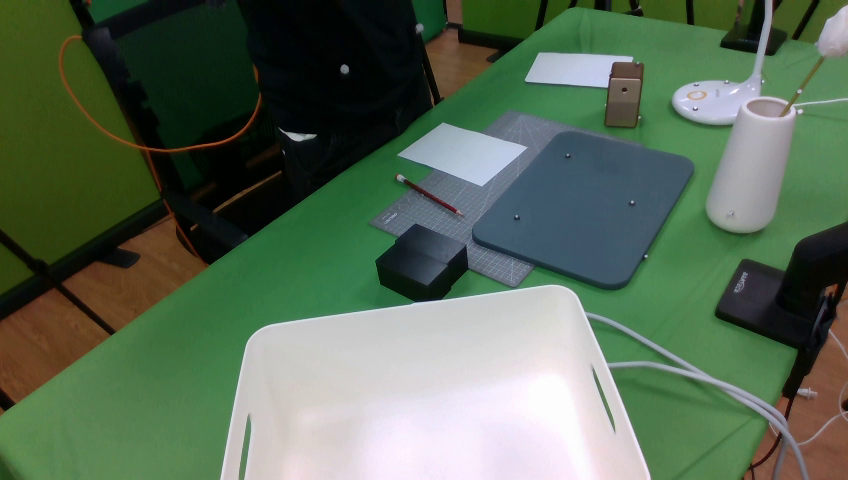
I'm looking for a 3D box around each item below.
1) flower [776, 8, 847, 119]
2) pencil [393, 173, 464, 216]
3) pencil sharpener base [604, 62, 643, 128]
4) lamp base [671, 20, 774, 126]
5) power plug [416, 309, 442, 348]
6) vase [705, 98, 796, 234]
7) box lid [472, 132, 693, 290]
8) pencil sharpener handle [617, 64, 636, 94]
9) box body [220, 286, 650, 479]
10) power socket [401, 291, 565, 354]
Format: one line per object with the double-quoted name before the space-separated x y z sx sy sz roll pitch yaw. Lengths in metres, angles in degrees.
"flower" 0.476 -0.156 0.822 0.038 0.362 0.044 8 58 2
"pencil" 0.006 -0.081 1.071 0.012 0.012 0.192 -32 44 -26
"pencil sharpener base" 0.391 -0.284 1.182 0.061 0.107 0.076 7 42 17
"lamp base" 0.581 -0.332 1.153 0.179 0.181 0.160 2 41 7
"power plug" 0.004 0.121 0.786 0.035 0.053 0.072 3 46 8
"vase" 0.480 -0.104 0.889 0.098 0.201 0.097 -4 42 4
"box lid" 0.273 -0.068 1.020 0.261 0.015 0.372 20 47 28
"pencil sharpener handle" 0.401 -0.327 1.211 0.036 0.068 0.030 16 44 8
"box body" 0.006 0.210 0.618 0.364 0.161 0.252 -8 40 -1
"power socket" 0.080 0.111 0.823 0.227 0.033 0.072 -5 41 1
